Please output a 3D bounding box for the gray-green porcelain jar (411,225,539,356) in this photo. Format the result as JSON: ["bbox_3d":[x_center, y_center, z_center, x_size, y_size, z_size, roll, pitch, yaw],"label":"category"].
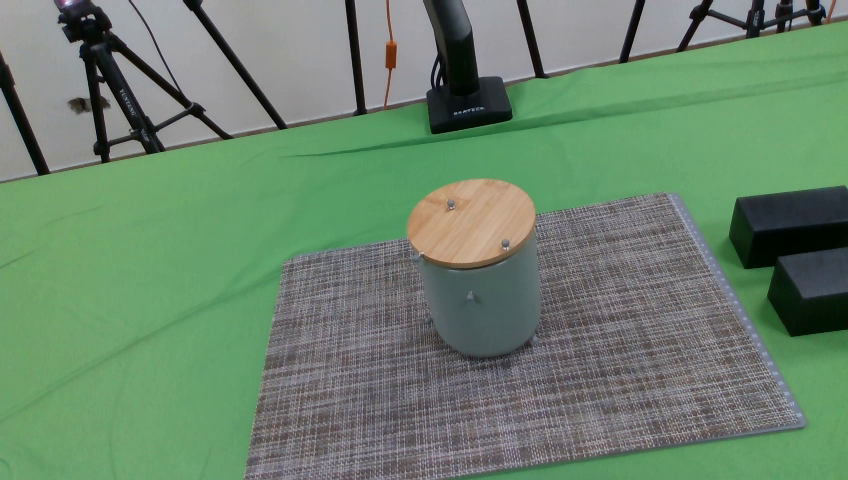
[{"bbox_3d":[0.049,0.034,0.550,0.106,0.128,0.105,-8,41,7],"label":"gray-green porcelain jar"}]

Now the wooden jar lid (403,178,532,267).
[{"bbox_3d":[0.037,-0.013,0.508,0.108,0.021,0.107,-8,43,8],"label":"wooden jar lid"}]
